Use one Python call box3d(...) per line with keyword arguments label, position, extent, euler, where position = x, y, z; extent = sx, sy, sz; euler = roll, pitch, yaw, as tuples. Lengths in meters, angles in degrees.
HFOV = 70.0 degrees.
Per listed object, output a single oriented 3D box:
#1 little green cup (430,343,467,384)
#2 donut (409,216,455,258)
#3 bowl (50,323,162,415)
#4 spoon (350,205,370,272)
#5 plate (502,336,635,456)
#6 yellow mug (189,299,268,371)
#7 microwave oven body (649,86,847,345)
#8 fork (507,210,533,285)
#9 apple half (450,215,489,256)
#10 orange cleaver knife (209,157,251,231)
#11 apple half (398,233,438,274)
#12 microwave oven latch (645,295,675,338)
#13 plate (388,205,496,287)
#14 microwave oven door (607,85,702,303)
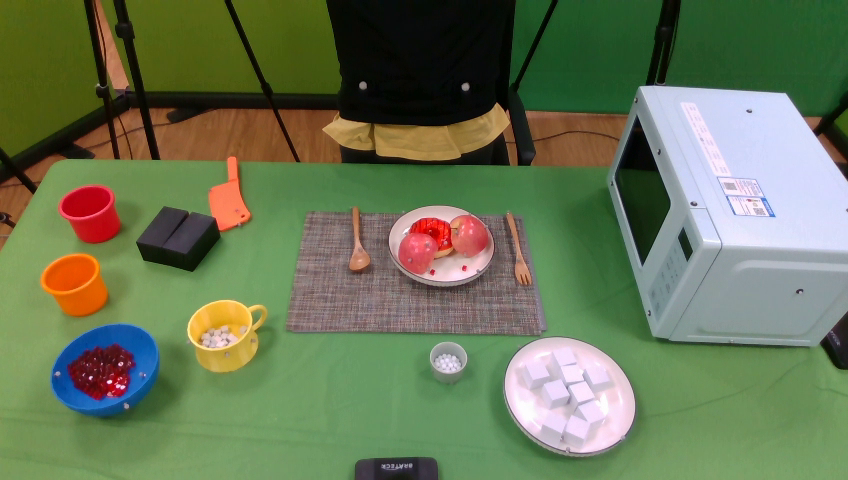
box3d(label="little green cup", position=(0.039, 0.203, 0.994), extent=(0.061, 0.039, 0.061), euler=(2, 46, -2))
box3d(label="donut", position=(0.020, -0.007, 1.174), extent=(0.099, 0.048, 0.098), euler=(2, 45, -1))
box3d(label="bowl", position=(-0.472, 0.209, 0.924), extent=(0.151, 0.077, 0.150), euler=(3, 45, -2))
box3d(label="spoon", position=(-0.130, -0.008, 1.190), extent=(0.041, 0.022, 0.192), euler=(-22, 47, 11))
box3d(label="plate", position=(0.225, 0.248, 0.964), extent=(0.208, 0.039, 0.206), euler=(2, 46, -2))
box3d(label="yellow mug", position=(-0.316, 0.148, 1.002), extent=(0.131, 0.064, 0.099), euler=(-32, 56, -31))
box3d(label="microwave oven body", position=(0.568, -0.053, 1.119), extent=(0.326, 0.261, 0.439), euler=(2, 45, -1))
box3d(label="fork", position=(0.185, 0.012, 1.197), extent=(0.028, 0.019, 0.206), euler=(-5, 48, 0))
box3d(label="apple half", position=(0.092, -0.013, 1.158), extent=(0.075, 0.053, 0.080), euler=(34, 39, -28))
box3d(label="orange cleaver knife", position=(-0.409, -0.099, 1.266), extent=(0.077, 0.012, 0.210), euler=(-14, 50, -10))
box3d(label="apple half", position=(-0.016, 0.022, 1.123), extent=(0.081, 0.033, 0.081), euler=(-2, 83, 14))
box3d(label="microwave oven latch", position=(0.412, 0.134, 1.061), extent=(0.030, 0.029, 0.078), euler=(3, 45, 0))
box3d(label="plate", position=(0.033, 0.014, 1.171), extent=(0.209, 0.038, 0.208), euler=(2, 46, -2))
box3d(label="microwave oven door", position=(0.423, -0.094, 1.141), extent=(0.039, 0.245, 0.353), euler=(2, 46, -1))
